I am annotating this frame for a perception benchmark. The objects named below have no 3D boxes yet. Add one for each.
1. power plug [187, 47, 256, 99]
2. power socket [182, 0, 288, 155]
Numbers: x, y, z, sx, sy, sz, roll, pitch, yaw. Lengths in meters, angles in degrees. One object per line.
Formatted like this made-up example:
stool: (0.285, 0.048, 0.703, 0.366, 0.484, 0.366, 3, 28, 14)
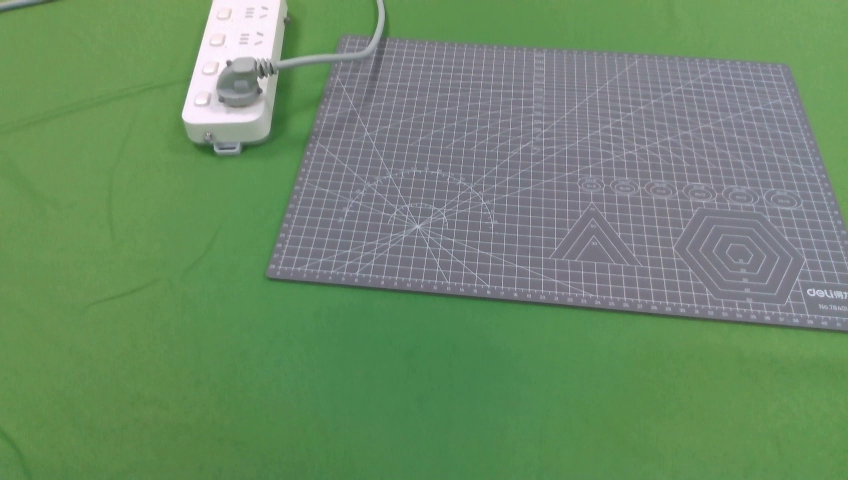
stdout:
power plug: (-0.162, -0.148, 0.505, 0.035, 0.073, 0.052, 19, 71, 1)
power socket: (-0.177, -0.175, 0.585, 0.072, 0.033, 0.224, -1, 54, -2)
